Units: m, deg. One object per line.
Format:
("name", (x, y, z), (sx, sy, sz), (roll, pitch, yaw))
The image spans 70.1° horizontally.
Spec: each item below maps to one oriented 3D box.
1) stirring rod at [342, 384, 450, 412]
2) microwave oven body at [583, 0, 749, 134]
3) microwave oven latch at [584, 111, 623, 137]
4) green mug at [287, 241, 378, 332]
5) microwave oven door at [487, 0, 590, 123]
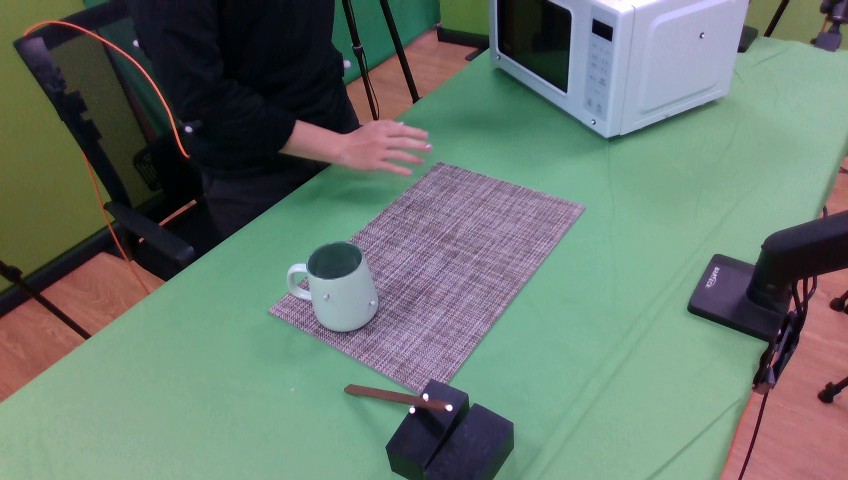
("stirring rod", (-0.038, 0.186, 0.714), (0.175, 0.006, 0.014), (-3, 22, 43))
("microwave oven body", (0.382, -0.444, 1.246), (0.327, 0.261, 0.437), (-22, 42, -16))
("microwave oven latch", (0.337, -0.222, 1.142), (0.030, 0.029, 0.078), (-21, 42, -14))
("green mug", (-0.131, 0.065, 0.843), (0.125, 0.105, 0.092), (3, 42, 12))
("microwave oven door", (0.232, -0.420, 1.231), (0.039, 0.245, 0.352), (-22, 43, -16))
